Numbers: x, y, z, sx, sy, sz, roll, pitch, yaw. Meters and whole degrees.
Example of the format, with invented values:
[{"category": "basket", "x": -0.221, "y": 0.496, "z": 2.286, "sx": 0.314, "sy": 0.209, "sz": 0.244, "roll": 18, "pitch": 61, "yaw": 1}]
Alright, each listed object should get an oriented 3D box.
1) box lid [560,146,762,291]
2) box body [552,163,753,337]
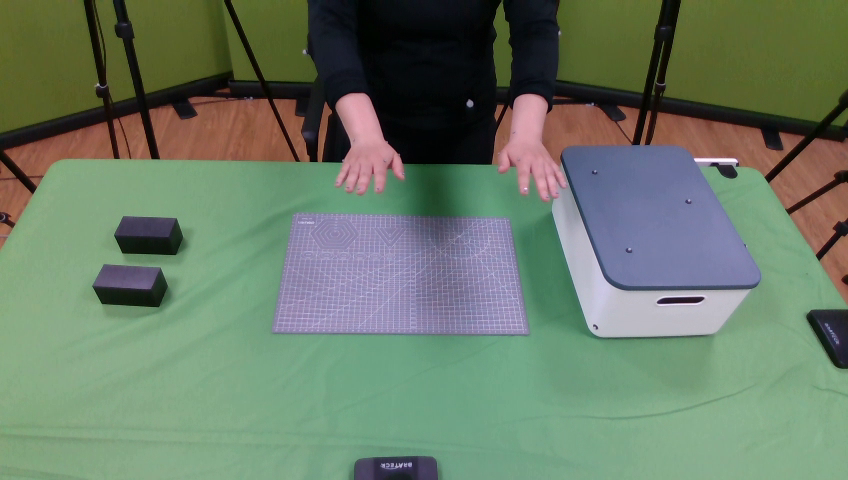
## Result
[{"category": "box lid", "x": 0.404, "y": -0.052, "z": 1.076, "sx": 0.263, "sy": 0.015, "sz": 0.369, "roll": -1, "pitch": 45, "yaw": -5}, {"category": "box body", "x": 0.401, "y": -0.001, "z": 1.131, "sx": 0.254, "sy": 0.161, "sz": 0.361, "roll": -1, "pitch": 46, "yaw": -5}]
